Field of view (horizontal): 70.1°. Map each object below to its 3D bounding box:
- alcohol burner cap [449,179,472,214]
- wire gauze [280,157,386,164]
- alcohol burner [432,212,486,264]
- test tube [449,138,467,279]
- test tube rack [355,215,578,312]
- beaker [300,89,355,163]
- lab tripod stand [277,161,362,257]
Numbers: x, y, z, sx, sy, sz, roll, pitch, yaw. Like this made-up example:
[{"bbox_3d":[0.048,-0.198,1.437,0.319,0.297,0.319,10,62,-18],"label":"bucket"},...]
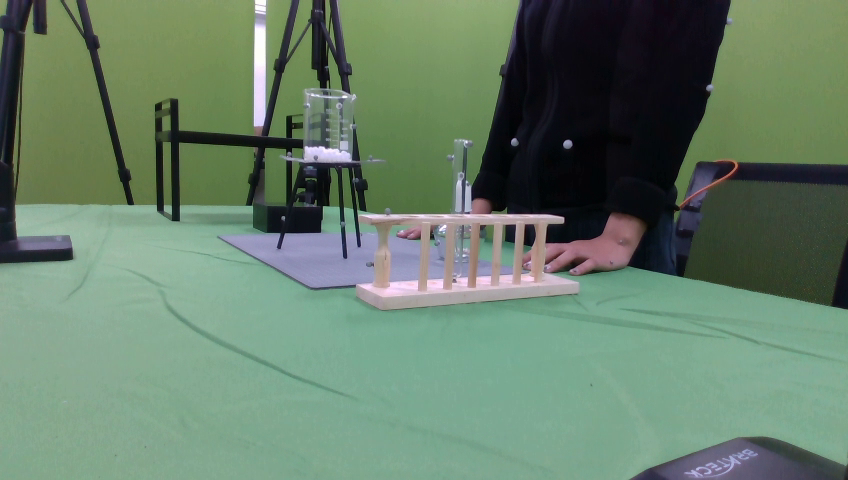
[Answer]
[{"bbox_3d":[0.052,-0.063,0.858,0.034,0.048,0.034,2,13,0],"label":"alcohol burner cap"},{"bbox_3d":[-0.134,-0.113,0.875,0.122,0.011,0.124,-1,6,-30],"label":"wire gauze"},{"bbox_3d":[0.051,-0.027,0.863,0.078,0.119,0.078,1,6,0],"label":"alcohol burner"},{"bbox_3d":[0.035,-0.033,0.645,0.017,0.150,0.017,3,4,0],"label":"test tube"},{"bbox_3d":[0.053,0.018,0.641,0.243,0.085,0.066,-1,8,-29],"label":"test tube rack"},{"bbox_3d":[-0.136,-0.161,0.867,0.083,0.100,0.074,5,8,24],"label":"beaker"},{"bbox_3d":[-0.142,-0.049,0.884,0.148,0.131,0.148,1,9,0],"label":"lab tripod stand"}]
